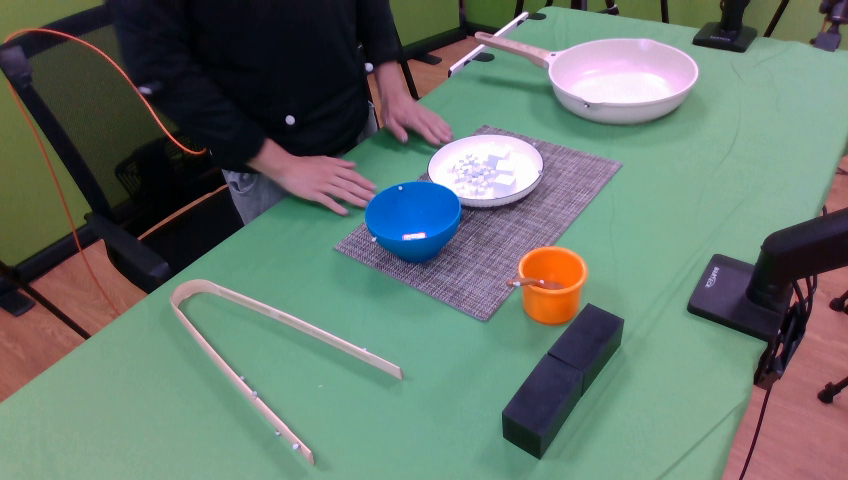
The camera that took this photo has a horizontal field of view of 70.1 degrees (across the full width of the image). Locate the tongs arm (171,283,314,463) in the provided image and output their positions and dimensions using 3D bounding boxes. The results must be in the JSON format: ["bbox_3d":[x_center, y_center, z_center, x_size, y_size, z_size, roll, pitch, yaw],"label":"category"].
[{"bbox_3d":[-0.246,0.161,0.806,0.381,0.026,0.051,29,51,36],"label":"tongs arm"}]

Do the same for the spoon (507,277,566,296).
[{"bbox_3d":[0.143,0.058,0.783,0.041,0.195,0.021,15,89,29],"label":"spoon"}]

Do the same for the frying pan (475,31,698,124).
[{"bbox_3d":[0.320,-0.371,1.290,0.485,0.103,0.307,28,50,23],"label":"frying pan"}]

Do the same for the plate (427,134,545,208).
[{"bbox_3d":[0.110,-0.119,1.073,0.207,0.039,0.206,-4,40,4],"label":"plate"}]

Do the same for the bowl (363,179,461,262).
[{"bbox_3d":[-0.014,-0.020,0.943,0.151,0.077,0.150,-4,41,4],"label":"bowl"}]

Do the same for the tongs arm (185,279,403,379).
[{"bbox_3d":[-0.194,0.119,0.853,0.385,0.028,0.028,17,49,26],"label":"tongs arm"}]
